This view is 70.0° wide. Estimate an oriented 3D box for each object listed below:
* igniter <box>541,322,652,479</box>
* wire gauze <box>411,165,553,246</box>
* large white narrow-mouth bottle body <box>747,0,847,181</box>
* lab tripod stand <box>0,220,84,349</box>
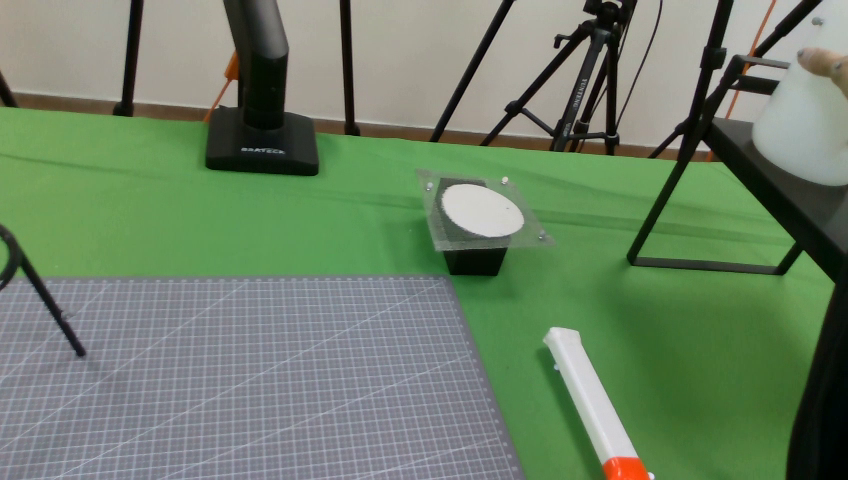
[{"bbox_3d":[0.146,0.169,0.446,0.057,0.025,0.273,11,37,-23],"label":"igniter"},{"bbox_3d":[0.054,-0.035,0.606,0.122,0.011,0.123,2,40,-19],"label":"wire gauze"},{"bbox_3d":[0.353,-0.151,0.485,0.102,0.196,0.101,9,38,-7],"label":"large white narrow-mouth bottle body"},{"bbox_3d":[-0.271,0.060,0.347,0.149,0.132,0.147,11,38,-9],"label":"lab tripod stand"}]
